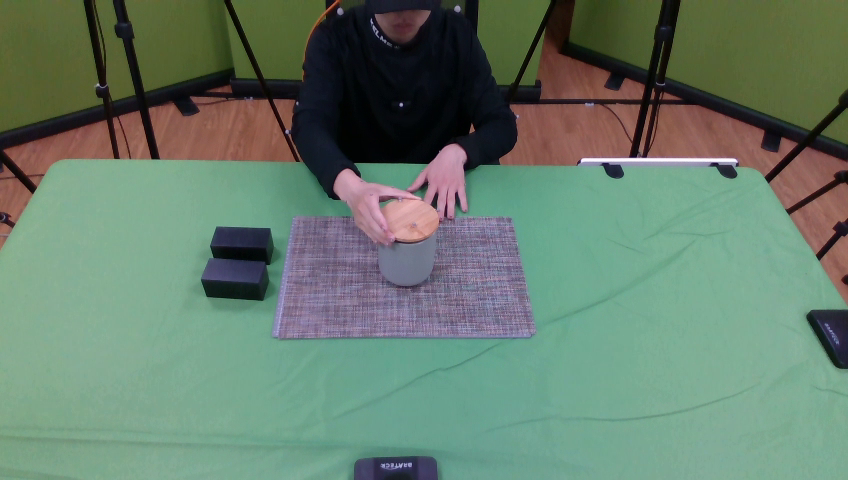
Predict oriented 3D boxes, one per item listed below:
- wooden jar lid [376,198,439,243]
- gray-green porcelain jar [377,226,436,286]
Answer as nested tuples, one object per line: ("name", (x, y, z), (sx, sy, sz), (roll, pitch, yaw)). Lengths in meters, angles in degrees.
("wooden jar lid", (-0.029, -0.032, 1.057), (0.108, 0.021, 0.107), (2, 43, -2))
("gray-green porcelain jar", (-0.033, 0.014, 1.106), (0.106, 0.127, 0.105), (2, 46, -2))
